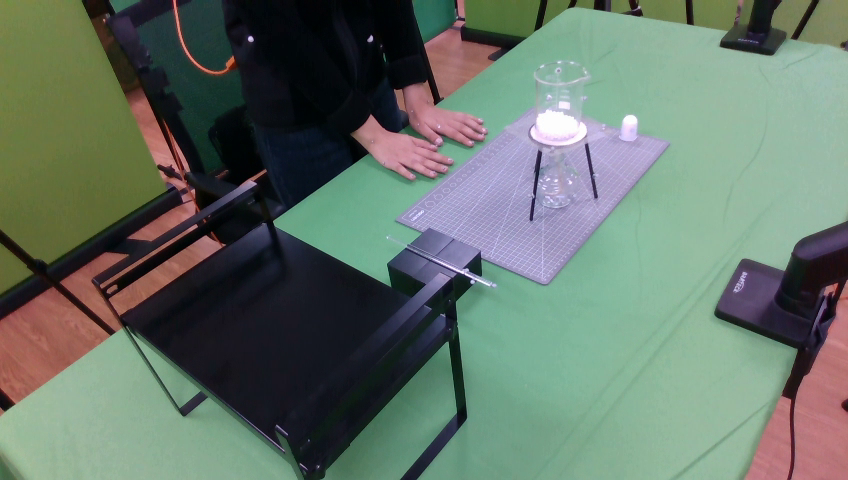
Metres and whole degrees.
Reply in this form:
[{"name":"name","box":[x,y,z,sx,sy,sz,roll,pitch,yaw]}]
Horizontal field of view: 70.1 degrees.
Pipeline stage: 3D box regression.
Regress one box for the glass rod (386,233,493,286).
[{"name":"glass rod","box":[0.018,0.027,0.878,0.198,0.008,0.008,25,50,33]}]

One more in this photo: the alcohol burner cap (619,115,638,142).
[{"name":"alcohol burner cap","box":[0.388,-0.214,1.145,0.034,0.048,0.033,-3,40,3]}]

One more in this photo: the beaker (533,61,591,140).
[{"name":"beaker","box":[0.208,-0.210,0.922,0.083,0.101,0.074,5,44,14]}]

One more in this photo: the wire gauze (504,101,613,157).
[{"name":"wire gauze","box":[0.211,-0.175,0.956,0.125,0.011,0.120,-26,43,-17]}]

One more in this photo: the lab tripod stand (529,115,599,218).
[{"name":"lab tripod stand","box":[0.217,-0.123,0.996,0.148,0.132,0.147,-4,43,4]}]

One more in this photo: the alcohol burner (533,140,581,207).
[{"name":"alcohol burner","box":[0.219,-0.114,0.999,0.078,0.119,0.077,-6,42,5]}]
